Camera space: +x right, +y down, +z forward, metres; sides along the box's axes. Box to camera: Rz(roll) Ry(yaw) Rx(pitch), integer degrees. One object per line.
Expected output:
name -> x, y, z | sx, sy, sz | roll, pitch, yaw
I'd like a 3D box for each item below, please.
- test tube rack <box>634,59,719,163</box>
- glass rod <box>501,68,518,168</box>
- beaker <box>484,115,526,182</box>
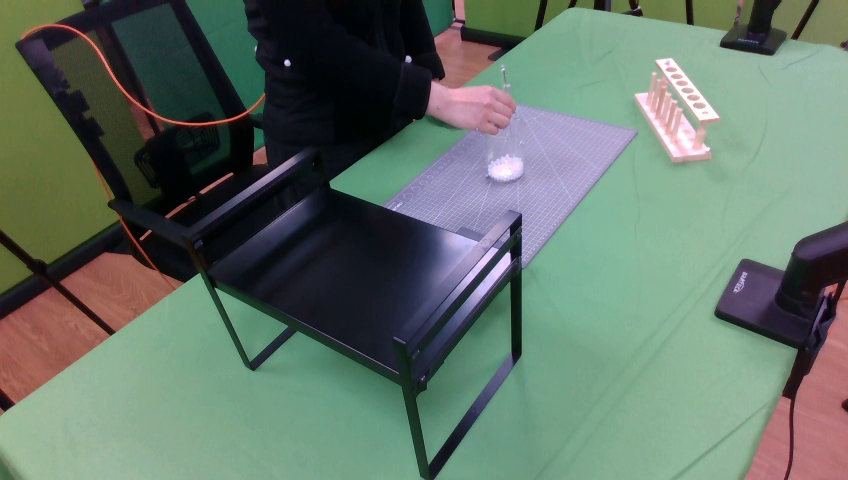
test tube rack -> 0.471, -0.250, 1.148 | 0.067, 0.085, 0.241 | -6, 40, 3
glass rod -> 0.148, -0.203, 1.037 | 0.008, 0.201, 0.008 | -9, 42, 9
beaker -> 0.147, -0.162, 1.080 | 0.073, 0.101, 0.084 | 13, 44, 22
